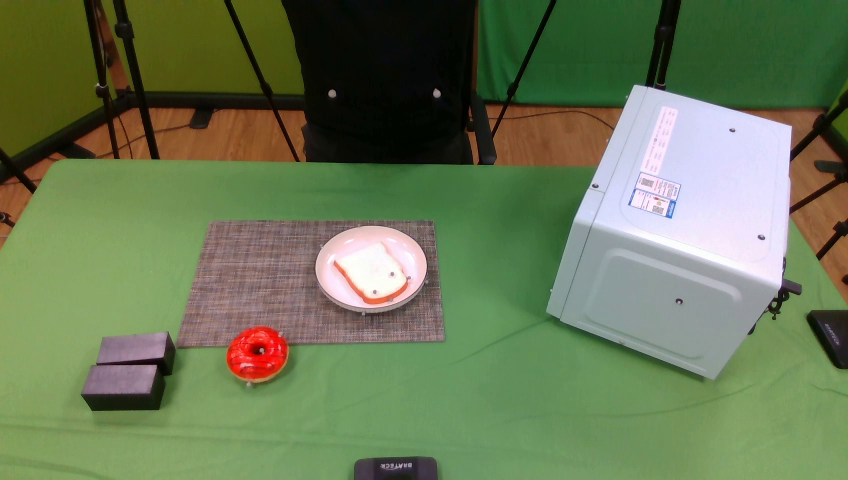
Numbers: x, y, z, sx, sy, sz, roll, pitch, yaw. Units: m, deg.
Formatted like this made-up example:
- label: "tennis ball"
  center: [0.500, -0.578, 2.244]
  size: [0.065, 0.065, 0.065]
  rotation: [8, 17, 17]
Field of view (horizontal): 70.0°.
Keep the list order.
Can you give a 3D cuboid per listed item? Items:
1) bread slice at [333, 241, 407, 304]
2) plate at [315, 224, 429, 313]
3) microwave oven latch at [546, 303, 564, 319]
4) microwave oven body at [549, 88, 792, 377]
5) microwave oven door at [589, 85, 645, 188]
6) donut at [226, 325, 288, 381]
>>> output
- label: "bread slice"
  center: [-0.092, 0.060, 1.117]
  size: [0.105, 0.019, 0.130]
  rotation: [-24, 52, -24]
- label: "plate"
  center: [-0.096, 0.055, 1.121]
  size: [0.208, 0.039, 0.206]
  rotation: [2, 46, -2]
- label: "microwave oven latch"
  center: [0.242, 0.102, 1.081]
  size: [0.030, 0.029, 0.079]
  rotation: [22, 48, 17]
- label: "microwave oven body"
  center: [0.456, -0.028, 1.088]
  size: [0.325, 0.261, 0.440]
  rotation: [20, 47, 16]
- label: "microwave oven door"
  center: [0.342, -0.107, 1.149]
  size: [0.039, 0.245, 0.354]
  rotation: [20, 48, 15]
- label: "donut"
  center: [-0.270, 0.182, 0.984]
  size: [0.099, 0.048, 0.098]
  rotation: [5, 49, -5]
